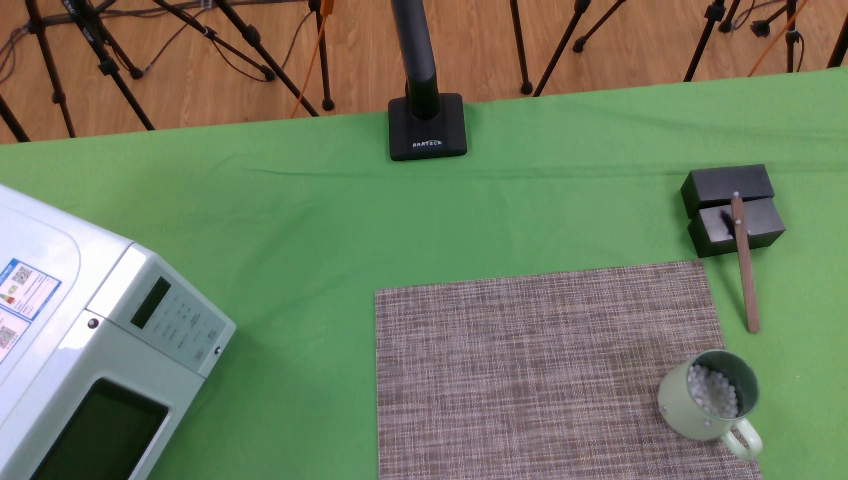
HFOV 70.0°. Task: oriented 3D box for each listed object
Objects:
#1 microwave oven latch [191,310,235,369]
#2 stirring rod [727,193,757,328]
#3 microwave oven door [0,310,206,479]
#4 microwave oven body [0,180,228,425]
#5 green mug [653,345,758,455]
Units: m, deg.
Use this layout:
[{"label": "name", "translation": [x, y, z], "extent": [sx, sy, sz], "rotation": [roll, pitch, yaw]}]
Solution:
[{"label": "microwave oven latch", "translation": [-0.280, 0.127, 0.793], "extent": [0.030, 0.030, 0.079], "rotation": [23, 69, 14]}, {"label": "stirring rod", "translation": [0.411, 0.027, 0.784], "extent": [0.014, 0.006, 0.176], "rotation": [-8, 88, 12]}, {"label": "microwave oven door", "translation": [-0.381, 0.264, 0.623], "extent": [0.039, 0.246, 0.354], "rotation": [21, 68, 15]}, {"label": "microwave oven body", "translation": [-0.495, 0.181, 0.677], "extent": [0.325, 0.262, 0.439], "rotation": [21, 69, 13]}, {"label": "green mug", "translation": [0.331, 0.187, 0.696], "extent": [0.092, 0.106, 0.124], "rotation": [-27, 65, -9]}]
